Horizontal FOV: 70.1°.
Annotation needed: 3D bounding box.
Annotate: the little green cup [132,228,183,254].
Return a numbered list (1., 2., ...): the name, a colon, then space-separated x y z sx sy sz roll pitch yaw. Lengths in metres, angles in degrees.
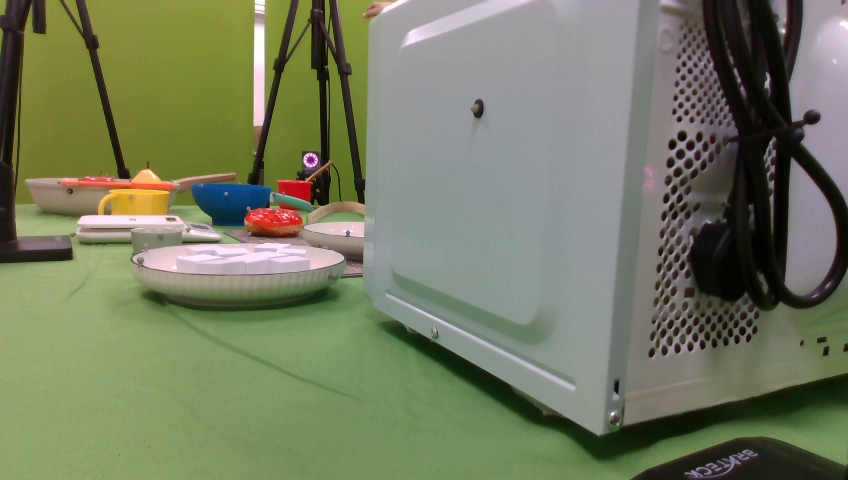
1. little green cup: -0.342 0.006 0.779 0.061 0.038 0.061 2 8 0

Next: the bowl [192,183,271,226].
1. bowl: -0.382 -0.071 1.202 0.151 0.077 0.151 3 7 0

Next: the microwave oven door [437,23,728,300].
1. microwave oven door: 0.181 -0.072 0.621 0.358 0.243 0.039 -2 8 -29

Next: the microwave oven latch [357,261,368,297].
1. microwave oven latch: -0.019 0.033 0.531 0.079 0.029 0.030 -1 7 -27

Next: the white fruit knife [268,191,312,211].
1. white fruit knife: -0.364 -0.105 1.463 0.208 0.027 0.016 15 -2 -34

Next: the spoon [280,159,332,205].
1. spoon: -0.317 -0.159 1.640 0.194 0.022 0.041 -50 31 -20

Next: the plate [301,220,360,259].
1. plate: -0.077 -0.002 0.893 0.209 0.038 0.209 3 8 0

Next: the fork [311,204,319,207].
1. fork: -0.356 -0.105 1.526 0.208 0.018 0.028 16 -5 -41

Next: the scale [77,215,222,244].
1. scale: -0.434 -0.019 0.963 0.202 0.031 0.148 -1 9 -27

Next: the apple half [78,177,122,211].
1. apple half: -0.698 -0.099 1.298 0.081 0.074 0.053 -9 9 -40

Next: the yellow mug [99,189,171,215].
1. yellow mug: -0.518 -0.055 1.080 0.099 0.064 0.131 7 10 26

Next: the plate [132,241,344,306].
1. plate: -0.187 0.033 0.625 0.208 0.039 0.207 2 7 0

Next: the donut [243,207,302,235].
1. donut: -0.261 -0.032 1.043 0.099 0.048 0.099 4 9 0

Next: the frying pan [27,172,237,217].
1. frying pan: -0.624 -0.118 1.387 0.305 0.102 0.490 8 17 32

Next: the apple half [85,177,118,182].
1. apple half: -0.673 -0.096 1.269 0.082 0.081 0.032 -4 6 -40

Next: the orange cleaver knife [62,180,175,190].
1. orange cleaver knife: -0.600 -0.110 1.193 0.212 0.012 0.077 1 8 -13

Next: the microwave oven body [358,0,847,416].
1. microwave oven body: 0.211 -0.047 0.475 0.444 0.260 0.324 -1 7 -28

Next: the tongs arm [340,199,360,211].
1. tongs arm: -0.149 -0.071 1.429 0.051 0.026 0.383 -4 9 -15

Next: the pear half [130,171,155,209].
1. pear half: -0.640 -0.113 1.361 0.031 0.088 0.070 5 10 5

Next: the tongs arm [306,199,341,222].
1. tongs arm: -0.234 -0.069 1.414 0.028 0.028 0.387 -5 8 1

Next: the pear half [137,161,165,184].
1. pear half: -0.604 -0.120 1.354 0.056 0.110 0.076 3 11 7
